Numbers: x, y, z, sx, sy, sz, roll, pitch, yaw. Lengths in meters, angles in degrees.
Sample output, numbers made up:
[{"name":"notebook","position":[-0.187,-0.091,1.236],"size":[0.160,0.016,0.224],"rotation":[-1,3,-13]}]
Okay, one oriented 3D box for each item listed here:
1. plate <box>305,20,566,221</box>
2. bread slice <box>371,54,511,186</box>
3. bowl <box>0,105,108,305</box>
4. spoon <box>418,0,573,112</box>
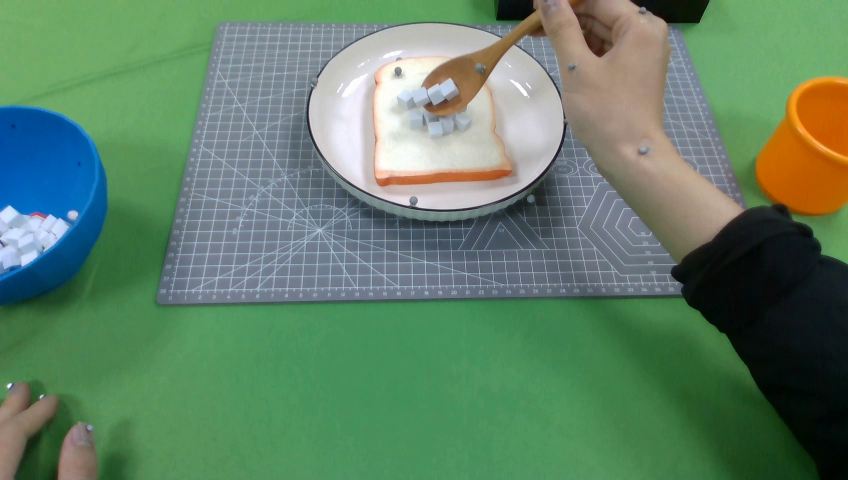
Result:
[{"name":"plate","position":[0.008,-0.099,0.500],"size":[0.209,0.038,0.207],"rotation":[1,59,-1]},{"name":"bread slice","position":[0.005,-0.102,0.505],"size":[0.107,0.018,0.133],"rotation":[-7,61,-6]},{"name":"bowl","position":[-0.284,-0.011,0.413],"size":[0.151,0.077,0.150],"rotation":[1,58,-1]},{"name":"spoon","position":[0.067,-0.144,0.416],"size":[0.022,0.193,0.041],"rotation":[-5,74,-46]}]
